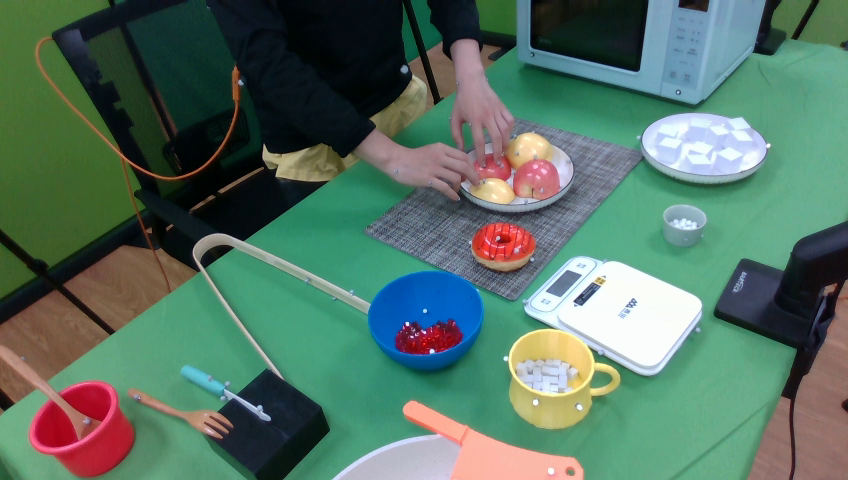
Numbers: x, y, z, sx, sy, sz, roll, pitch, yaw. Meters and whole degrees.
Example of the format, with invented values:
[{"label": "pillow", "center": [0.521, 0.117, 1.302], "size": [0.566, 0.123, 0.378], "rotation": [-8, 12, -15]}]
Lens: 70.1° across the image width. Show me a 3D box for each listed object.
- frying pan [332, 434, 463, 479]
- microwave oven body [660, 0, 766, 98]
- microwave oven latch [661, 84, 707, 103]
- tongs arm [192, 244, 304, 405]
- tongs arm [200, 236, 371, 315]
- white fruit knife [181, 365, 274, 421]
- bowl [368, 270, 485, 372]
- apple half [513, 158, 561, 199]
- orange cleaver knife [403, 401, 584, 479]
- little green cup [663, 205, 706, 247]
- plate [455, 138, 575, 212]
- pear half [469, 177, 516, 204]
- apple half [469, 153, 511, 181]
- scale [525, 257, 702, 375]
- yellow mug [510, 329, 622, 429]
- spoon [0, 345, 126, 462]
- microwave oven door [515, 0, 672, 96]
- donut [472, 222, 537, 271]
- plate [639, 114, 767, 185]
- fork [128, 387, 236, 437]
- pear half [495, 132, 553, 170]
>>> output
[{"label": "frying pan", "center": [-0.089, 0.306, 0.564], "size": [0.487, 0.103, 0.306], "rotation": [10, 41, 7]}, {"label": "microwave oven body", "center": [0.472, -0.513, 1.317], "size": [0.438, 0.261, 0.327], "rotation": [26, 51, 34]}, {"label": "microwave oven latch", "center": [0.517, -0.296, 1.204], "size": [0.078, 0.029, 0.030], "rotation": [27, 52, 35]}, {"label": "tongs arm", "center": [-0.268, 0.111, 0.884], "size": [0.028, 0.028, 0.384], "rotation": [-36, 47, -17]}, {"label": "tongs arm", "center": [-0.209, 0.062, 0.924], "size": [0.381, 0.027, 0.051], "rotation": [23, 54, 32]}, {"label": "white fruit knife", "center": [-0.245, 0.187, 0.747], "size": [0.205, 0.027, 0.016], "rotation": [9, 41, 41]}, {"label": "bowl", "center": [0.007, 0.118, 0.791], "size": [0.151, 0.077, 0.150], "rotation": [-5, 39, 4]}, {"label": "apple half", "center": [0.194, -0.111, 1.031], "size": [0.080, 0.053, 0.075], "rotation": [12, 41, 26]}, {"label": "orange cleaver knife", "center": [0.062, 0.222, 0.609], "size": [0.210, 0.012, 0.077], "rotation": [15, 48, 25]}, {"label": "little green cup", "center": [0.396, -0.020, 0.926], "size": [0.061, 0.039, 0.061], "rotation": [-4, 40, 4]}, {"label": "plate", "center": [0.159, -0.111, 1.063], "size": [0.209, 0.038, 0.208], "rotation": [-4, 40, 4]}, {"label": "pear half", "center": [0.115, -0.090, 1.035], "size": [0.087, 0.031, 0.071], "rotation": [28, 38, 31]}, {"label": "apple half", "center": [0.121, -0.138, 1.089], "size": [0.081, 0.033, 0.081], "rotation": [1, 43, 0]}, {"label": "scale", "center": [0.254, 0.091, 0.821], "size": [0.199, 0.032, 0.149], "rotation": [28, 51, 35]}, {"label": "yellow mug", "center": [0.168, 0.164, 0.721], "size": [0.130, 0.064, 0.099], "rotation": [0, 40, 8]}, {"label": "spoon", "center": [-0.434, 0.192, 0.720], "size": [0.194, 0.021, 0.042], "rotation": [47, 53, -7]}, {"label": "microwave oven door", "center": [0.343, -0.455, 1.259], "size": [0.353, 0.245, 0.039], "rotation": [26, 51, 33]}, {"label": "donut", "center": [0.123, 0.008, 0.923], "size": [0.099, 0.048, 0.098], "rotation": [-3, 38, 3]}, {"label": "plate", "center": [0.489, -0.157, 1.074], "size": [0.207, 0.039, 0.206], "rotation": [-4, 40, 4]}, {"label": "fork", "center": [-0.305, 0.207, 0.744], "size": [0.206, 0.019, 0.028], "rotation": [3, 41, 36]}, {"label": "pear half", "center": [0.174, -0.168, 1.094], "size": [0.109, 0.056, 0.076], "rotation": [17, 55, 29]}]
